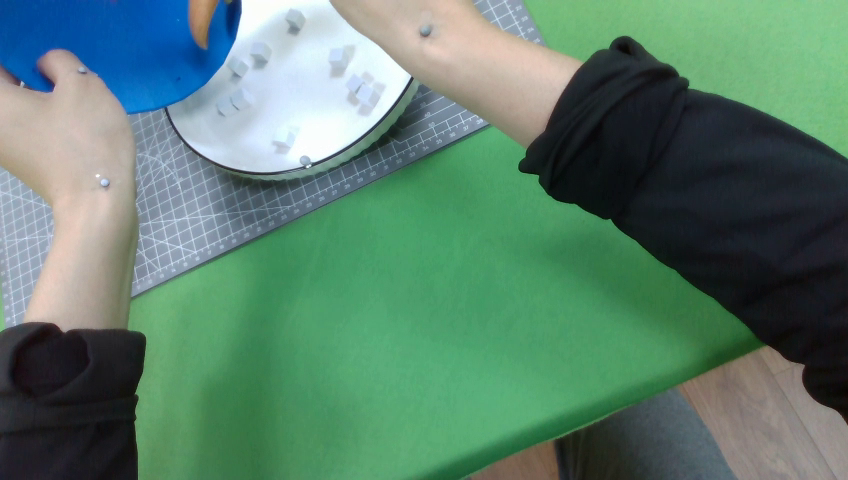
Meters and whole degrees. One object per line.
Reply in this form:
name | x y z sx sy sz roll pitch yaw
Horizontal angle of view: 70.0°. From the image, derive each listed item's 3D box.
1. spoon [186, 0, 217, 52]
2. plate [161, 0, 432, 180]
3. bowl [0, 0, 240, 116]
spoon | -0.090 -0.162 0.311 0.193 0.022 0.041 -30 58 46
plate | -0.092 -0.136 0.433 0.208 0.038 0.208 -4 73 15
bowl | -0.200 -0.161 0.376 0.151 0.153 0.076 -44 44 1
